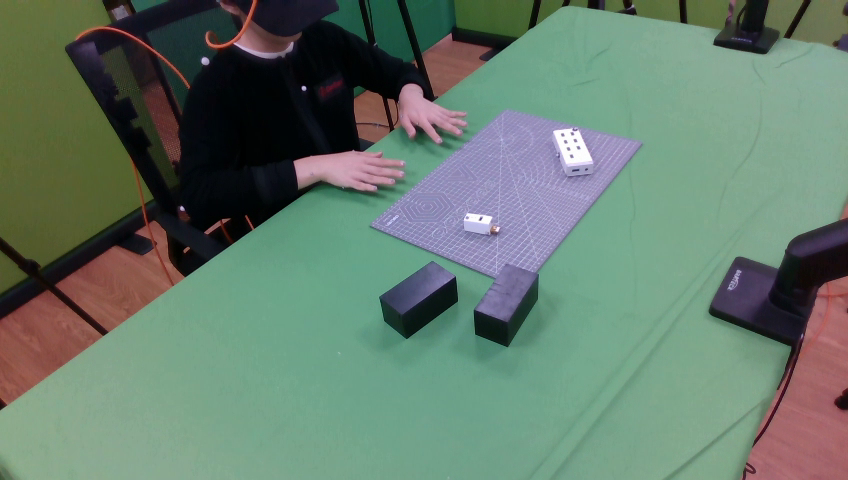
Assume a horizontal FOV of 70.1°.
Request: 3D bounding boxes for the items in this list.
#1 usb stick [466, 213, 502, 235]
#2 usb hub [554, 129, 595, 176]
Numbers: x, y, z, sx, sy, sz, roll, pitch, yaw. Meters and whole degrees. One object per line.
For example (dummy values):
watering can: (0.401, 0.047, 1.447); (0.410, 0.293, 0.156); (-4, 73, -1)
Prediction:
usb stick: (0.098, -0.024, 0.983); (0.059, 0.027, 0.021); (13, 41, 18)
usb hub: (0.278, -0.163, 1.119); (0.049, 0.025, 0.124); (-6, 41, 2)
